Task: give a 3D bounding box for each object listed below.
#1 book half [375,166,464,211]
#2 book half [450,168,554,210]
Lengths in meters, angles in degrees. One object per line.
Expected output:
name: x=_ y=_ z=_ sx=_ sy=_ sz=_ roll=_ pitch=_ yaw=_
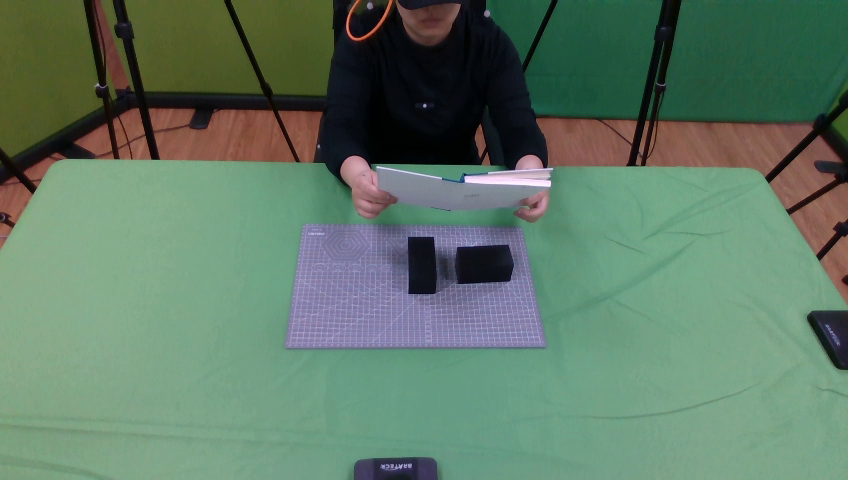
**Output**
book half: x=-0.013 y=-0.085 z=1.055 sx=0.143 sy=0.210 sz=0.007 roll=10 pitch=80 yaw=-2
book half: x=0.129 y=-0.086 z=1.066 sx=0.149 sy=0.210 sz=0.016 roll=-4 pitch=80 yaw=-5
